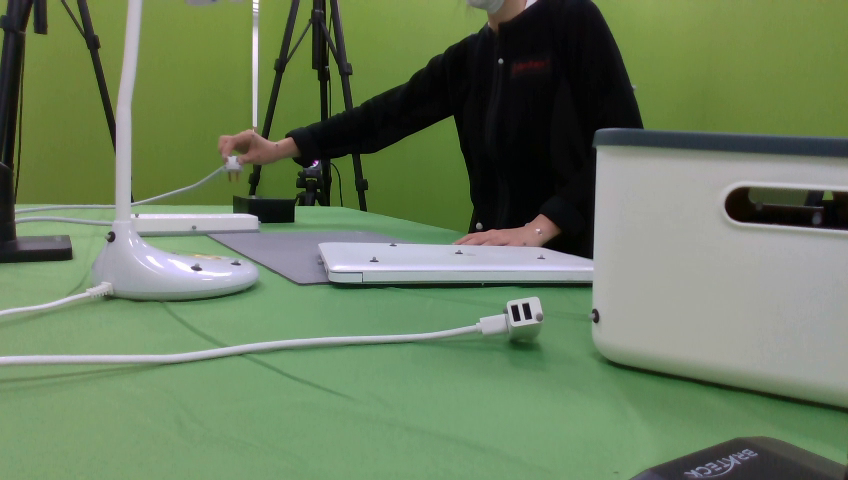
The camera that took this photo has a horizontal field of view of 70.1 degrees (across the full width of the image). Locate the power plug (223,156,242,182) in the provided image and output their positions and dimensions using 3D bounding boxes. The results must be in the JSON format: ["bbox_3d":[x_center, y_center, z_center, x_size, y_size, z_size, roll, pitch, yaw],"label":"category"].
[{"bbox_3d":[-0.360,-0.131,1.151,0.035,0.052,0.072,-4,-6,-3],"label":"power plug"}]

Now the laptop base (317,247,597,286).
[{"bbox_3d":[0.046,0.034,0.789,0.355,0.023,0.235,1,5,-14],"label":"laptop base"}]

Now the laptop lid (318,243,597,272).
[{"bbox_3d":[0.046,0.022,0.789,0.358,0.013,0.241,1,6,-12],"label":"laptop lid"}]

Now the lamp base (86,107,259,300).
[{"bbox_3d":[-0.254,-0.039,0.603,0.160,0.180,0.179,4,10,18],"label":"lamp base"}]

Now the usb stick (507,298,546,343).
[{"bbox_3d":[0.079,0.065,0.470,0.027,0.021,0.059,-12,-25,4],"label":"usb stick"}]

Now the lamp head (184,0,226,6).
[{"bbox_3d":[-0.229,-0.320,0.627,0.112,0.112,0.123,6,-35,26],"label":"lamp head"}]

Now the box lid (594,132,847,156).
[{"bbox_3d":[0.310,-0.066,0.499,0.262,0.015,0.373,7,8,29],"label":"box lid"}]

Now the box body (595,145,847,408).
[{"bbox_3d":[0.309,0.007,0.510,0.253,0.160,0.366,6,8,29],"label":"box body"}]

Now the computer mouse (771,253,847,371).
[{"bbox_3d":[0.344,0.057,0.518,0.063,0.041,0.117,13,48,3],"label":"computer mouse"}]

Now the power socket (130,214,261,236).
[{"bbox_3d":[-0.397,-0.028,1.048,0.228,0.032,0.072,-3,8,-35],"label":"power socket"}]
